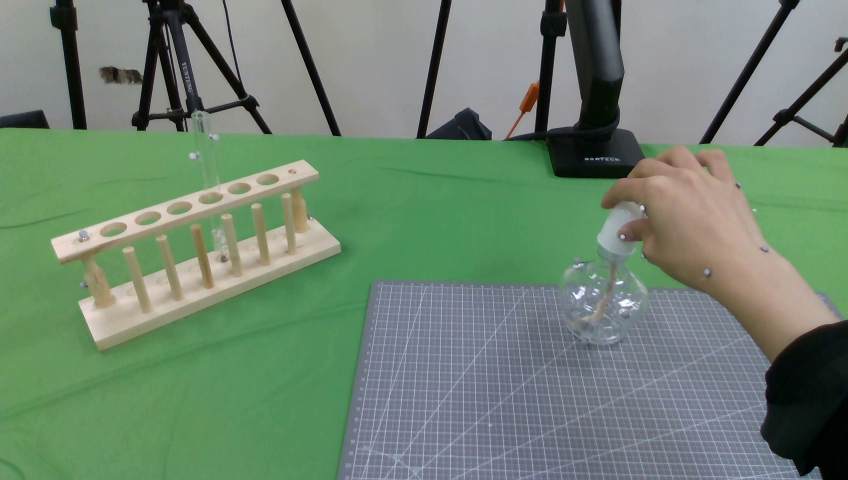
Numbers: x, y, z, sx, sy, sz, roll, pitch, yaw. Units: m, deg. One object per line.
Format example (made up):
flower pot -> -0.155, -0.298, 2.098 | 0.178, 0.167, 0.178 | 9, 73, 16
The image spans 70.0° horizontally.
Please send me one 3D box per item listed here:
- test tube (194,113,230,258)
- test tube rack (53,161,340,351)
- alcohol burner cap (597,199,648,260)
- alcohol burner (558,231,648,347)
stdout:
test tube -> -0.201, -0.047, 0.577 | 0.017, 0.151, 0.017 | 3, 32, -1
test tube rack -> -0.206, 0.007, 0.586 | 0.243, 0.086, 0.066 | -23, 43, -29
alcohol burner cap -> 0.165, -0.011, 0.494 | 0.034, 0.048, 0.033 | 10, 34, -6
alcohol burner -> 0.158, 0.035, 0.526 | 0.078, 0.120, 0.077 | 1, 38, -1
